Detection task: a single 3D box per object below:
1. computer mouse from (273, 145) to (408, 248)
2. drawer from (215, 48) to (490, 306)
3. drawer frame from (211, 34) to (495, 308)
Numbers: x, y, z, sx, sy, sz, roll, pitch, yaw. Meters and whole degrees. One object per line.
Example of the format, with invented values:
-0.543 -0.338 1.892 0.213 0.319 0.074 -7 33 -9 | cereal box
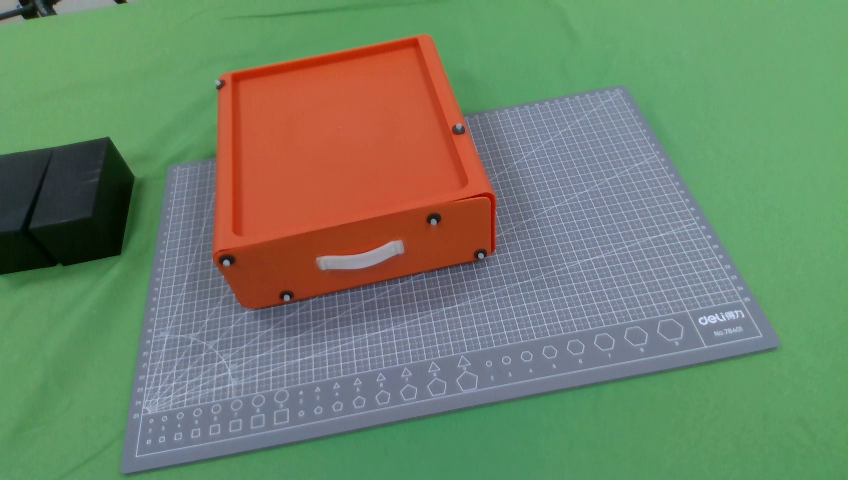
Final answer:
-0.070 -0.037 0.487 0.117 0.041 0.062 -18 52 10 | computer mouse
-0.065 -0.063 0.505 0.194 0.074 0.209 -13 50 -3 | drawer
-0.065 -0.065 0.505 0.202 0.083 0.211 -13 50 -3 | drawer frame
